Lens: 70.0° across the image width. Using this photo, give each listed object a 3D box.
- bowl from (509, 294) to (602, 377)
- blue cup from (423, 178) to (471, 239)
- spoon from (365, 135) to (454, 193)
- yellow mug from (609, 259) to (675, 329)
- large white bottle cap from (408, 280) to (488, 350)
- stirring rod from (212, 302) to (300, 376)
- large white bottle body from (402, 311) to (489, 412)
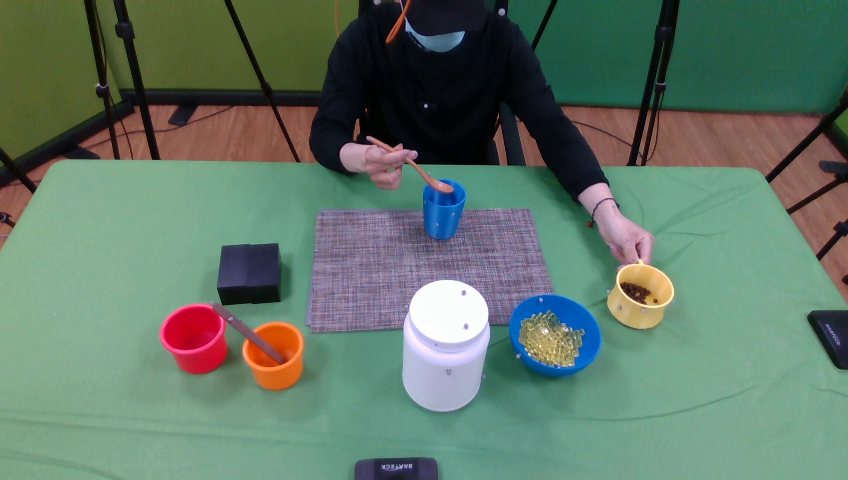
[{"bbox_3d":[0.211,0.172,1.007,0.151,0.077,0.150,2,46,-2],"label":"bowl"},{"bbox_3d":[0.036,-0.056,1.192,0.093,0.101,0.092,3,45,-3],"label":"blue cup"},{"bbox_3d":[-0.025,-0.139,1.108,0.194,0.021,0.041,34,23,-22],"label":"spoon"},{"bbox_3d":[0.392,0.089,1.099,0.100,0.064,0.130,6,46,4],"label":"yellow mug"},{"bbox_3d":[0.034,0.105,0.866,0.115,0.018,0.114,2,46,-1],"label":"large white bottle cap"},{"bbox_3d":[-0.261,0.156,0.948,0.177,0.006,0.014,45,45,-20],"label":"stirring rod"},{"bbox_3d":[0.031,0.163,0.928,0.131,0.185,0.130,2,46,-2],"label":"large white bottle body"}]
